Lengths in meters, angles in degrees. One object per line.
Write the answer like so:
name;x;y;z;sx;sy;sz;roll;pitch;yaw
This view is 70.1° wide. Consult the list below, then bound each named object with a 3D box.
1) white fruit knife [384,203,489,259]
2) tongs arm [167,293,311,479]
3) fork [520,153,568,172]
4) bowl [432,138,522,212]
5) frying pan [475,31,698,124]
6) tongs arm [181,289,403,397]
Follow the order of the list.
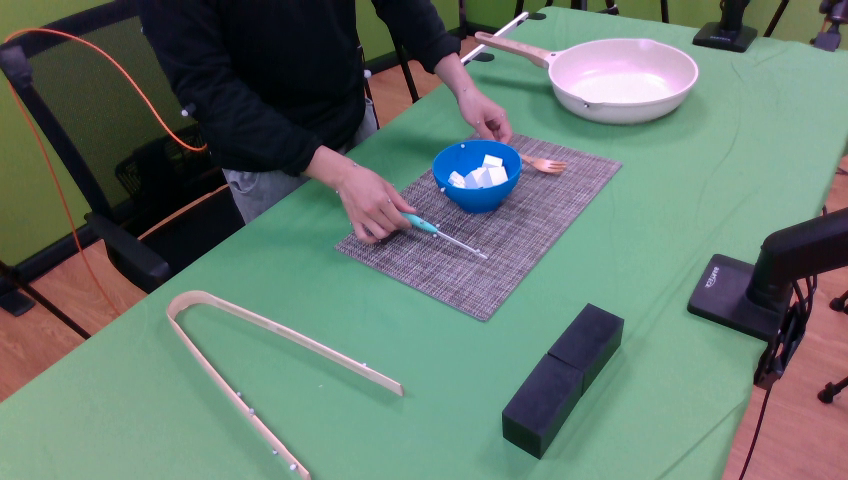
white fruit knife;0.016;-0.016;0.964;0.206;0.027;0.016;27;78;25
tongs arm;-0.245;0.176;0.787;0.381;0.026;0.051;29;51;36
fork;0.164;-0.156;1.109;0.206;0.019;0.028;20;69;25
bowl;0.091;-0.100;1.021;0.151;0.077;0.150;-4;41;4
frying pan;0.320;-0.371;1.290;0.485;0.103;0.307;28;50;23
tongs arm;-0.192;0.135;0.834;0.385;0.028;0.028;18;49;26
